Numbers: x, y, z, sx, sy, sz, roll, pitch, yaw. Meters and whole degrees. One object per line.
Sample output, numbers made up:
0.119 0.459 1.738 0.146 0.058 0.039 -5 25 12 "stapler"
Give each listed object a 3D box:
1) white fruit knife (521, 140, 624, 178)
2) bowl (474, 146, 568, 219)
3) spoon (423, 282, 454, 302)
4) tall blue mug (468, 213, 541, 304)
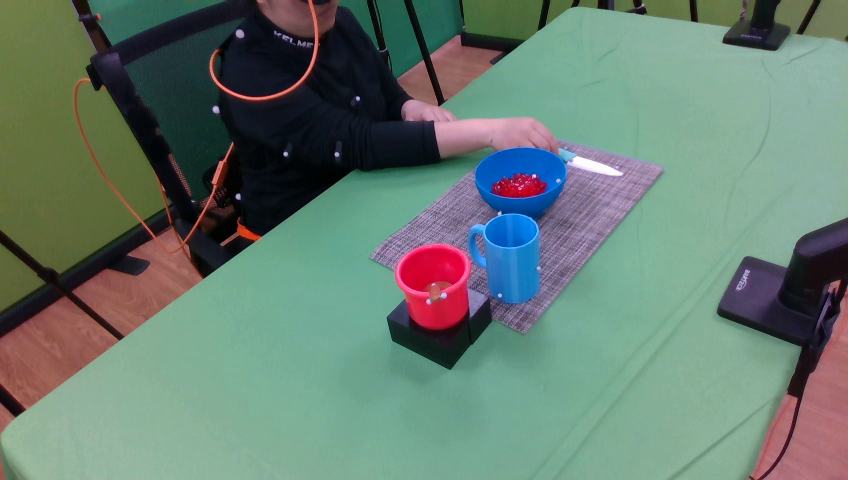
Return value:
0.270 -0.149 1.110 0.206 0.016 0.027 25 79 32 "white fruit knife"
0.161 -0.083 1.001 0.151 0.077 0.150 -5 40 5 "bowl"
0.015 0.062 0.733 0.041 0.194 0.021 -5 86 3 "spoon"
0.111 0.026 0.856 0.107 0.108 0.077 2 42 13 "tall blue mug"
